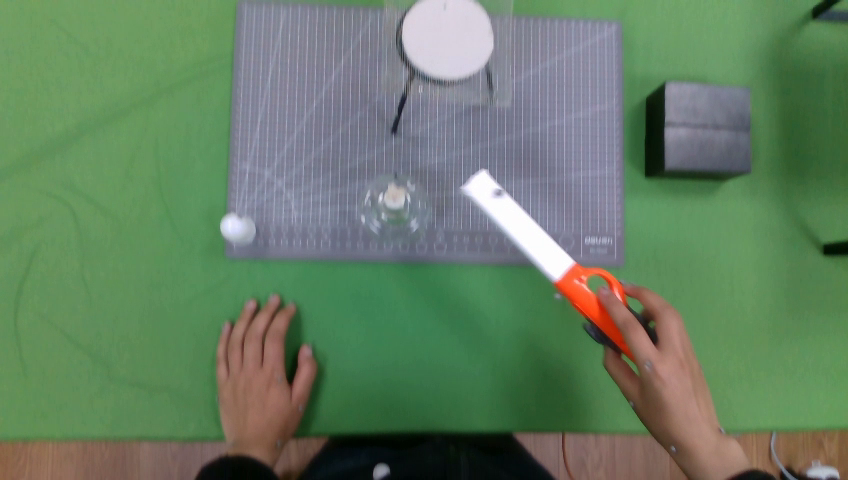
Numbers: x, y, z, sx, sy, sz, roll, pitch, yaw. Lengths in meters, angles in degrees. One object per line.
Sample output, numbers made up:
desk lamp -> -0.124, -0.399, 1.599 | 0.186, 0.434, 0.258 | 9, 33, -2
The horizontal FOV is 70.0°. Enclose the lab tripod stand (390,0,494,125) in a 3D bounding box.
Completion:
lab tripod stand -> 0.011, -0.195, 0.631 | 0.148, 0.131, 0.148 | 0, 85, -3

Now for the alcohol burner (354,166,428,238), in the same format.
alcohol burner -> -0.034, -0.042, 0.625 | 0.078, 0.119, 0.078 | 0, 86, -3

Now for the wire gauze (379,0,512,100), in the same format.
wire gauze -> 0.022, -0.196, 0.564 | 0.125, 0.011, 0.121 | 4, 85, -4

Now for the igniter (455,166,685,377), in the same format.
igniter -> 0.140, 0.034, 0.579 | 0.276, 0.025, 0.057 | 43, 82, -1

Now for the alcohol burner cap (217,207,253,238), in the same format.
alcohol burner cap -> -0.203, -0.020, 0.644 | 0.034, 0.048, 0.034 | 1, 83, -6
